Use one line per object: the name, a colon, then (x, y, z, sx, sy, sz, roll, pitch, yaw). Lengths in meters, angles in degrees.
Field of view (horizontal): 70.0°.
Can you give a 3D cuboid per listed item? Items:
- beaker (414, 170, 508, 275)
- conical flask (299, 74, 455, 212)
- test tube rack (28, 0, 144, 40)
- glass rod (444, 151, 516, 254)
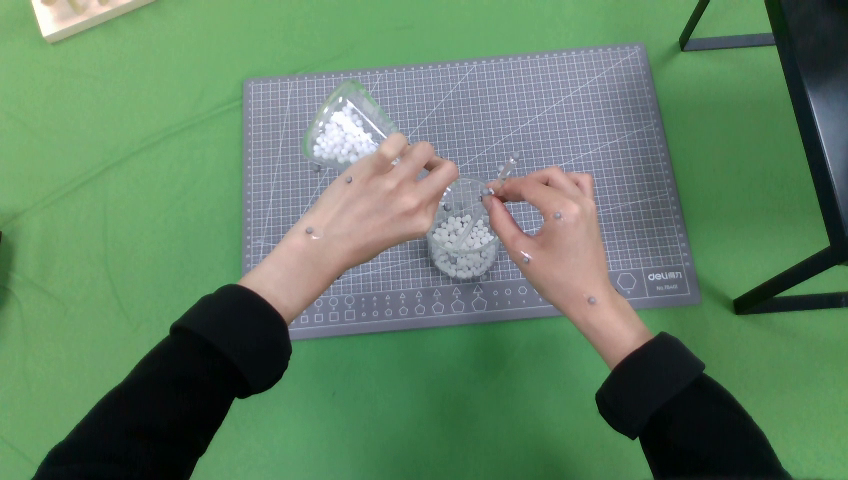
beaker: (0.033, -0.012, 0.568, 0.084, 0.101, 0.073, 18, 73, 9)
conical flask: (-0.034, -0.072, 0.496, 0.122, 0.075, 0.075, 34, 76, -7)
test tube rack: (-0.350, -0.326, 0.691, 0.242, 0.086, 0.066, -25, 73, -6)
glass rod: (0.042, -0.025, 0.515, 0.008, 0.200, 0.008, 4, 68, -11)
